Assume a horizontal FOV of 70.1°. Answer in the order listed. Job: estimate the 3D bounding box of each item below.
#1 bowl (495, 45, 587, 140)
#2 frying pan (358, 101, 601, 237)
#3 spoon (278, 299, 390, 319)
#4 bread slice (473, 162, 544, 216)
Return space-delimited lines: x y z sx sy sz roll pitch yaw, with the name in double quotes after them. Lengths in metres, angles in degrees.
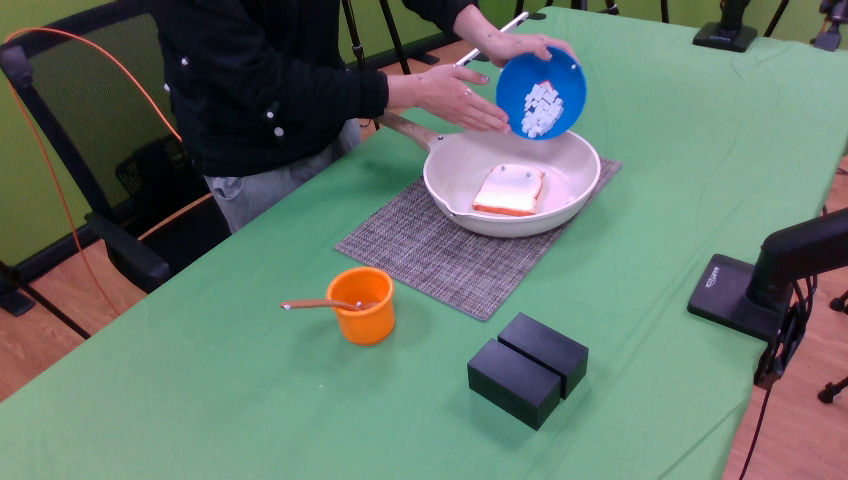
0.202 -0.245 1.014 0.150 0.151 0.077 11 16 21 "bowl"
0.067 -0.153 1.067 0.484 0.103 0.308 32 52 26 "frying pan"
-0.113 0.087 0.787 0.041 0.021 0.195 29 7 36 "spoon"
0.150 -0.088 1.042 0.106 0.018 0.134 7 45 15 "bread slice"
